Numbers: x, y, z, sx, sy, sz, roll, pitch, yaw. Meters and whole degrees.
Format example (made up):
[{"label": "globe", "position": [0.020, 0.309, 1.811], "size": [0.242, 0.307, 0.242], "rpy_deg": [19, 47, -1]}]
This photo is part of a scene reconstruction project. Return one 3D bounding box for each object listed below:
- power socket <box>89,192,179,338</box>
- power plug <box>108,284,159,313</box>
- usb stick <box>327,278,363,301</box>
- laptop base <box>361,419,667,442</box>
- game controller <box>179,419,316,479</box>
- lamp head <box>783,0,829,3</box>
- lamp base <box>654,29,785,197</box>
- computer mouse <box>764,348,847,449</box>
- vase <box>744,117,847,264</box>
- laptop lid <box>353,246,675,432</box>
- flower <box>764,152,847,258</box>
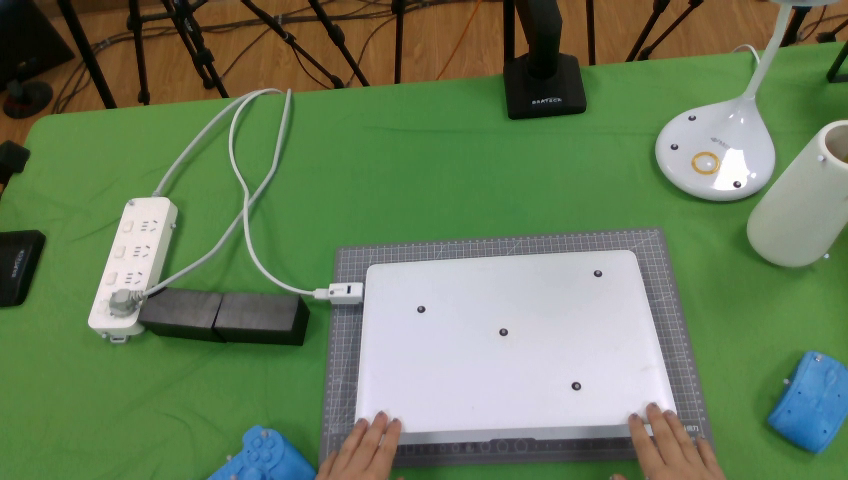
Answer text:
[{"label": "power socket", "position": [-0.405, 0.028, 0.855], "size": [0.072, 0.033, 0.224], "rpy_deg": [-1, 60, 5]}, {"label": "power plug", "position": [-0.380, 0.082, 0.799], "size": [0.072, 0.053, 0.035], "rpy_deg": [9, 61, 9]}, {"label": "usb stick", "position": [-0.095, 0.065, 0.793], "size": [0.059, 0.027, 0.021], "rpy_deg": [-1, 57, 3]}, {"label": "laptop base", "position": [0.099, 0.125, 0.753], "size": [0.354, 0.023, 0.233], "rpy_deg": [-4, 64, 4]}, {"label": "game controller", "position": [-0.210, 0.276, 0.685], "size": [0.155, 0.052, 0.096], "rpy_deg": [-37, 60, -15]}, {"label": "lamp head", "position": [0.340, -0.284, 0.521], "size": [0.112, 0.113, 0.122], "rpy_deg": [24, 83, 19]}, {"label": "lamp base", "position": [0.409, -0.176, 0.798], "size": [0.159, 0.182, 0.178], "rpy_deg": [27, 64, 20]}, {"label": "computer mouse", "position": [0.436, 0.173, 0.677], "size": [0.062, 0.041, 0.117], "rpy_deg": [35, 65, 26]}, {"label": "vase", "position": [0.454, -0.053, 0.712], "size": [0.098, 0.202, 0.097], "rpy_deg": [-4, 59, 6]}, {"label": "laptop lid", "position": [0.096, 0.109, 0.726], "size": [0.356, 0.013, 0.239], "rpy_deg": [-2, 53, 5]}, {"label": "flower", "position": [0.461, -0.103, 0.644], "size": [0.038, 0.364, 0.043], "rpy_deg": [-7, 48, -17]}]
